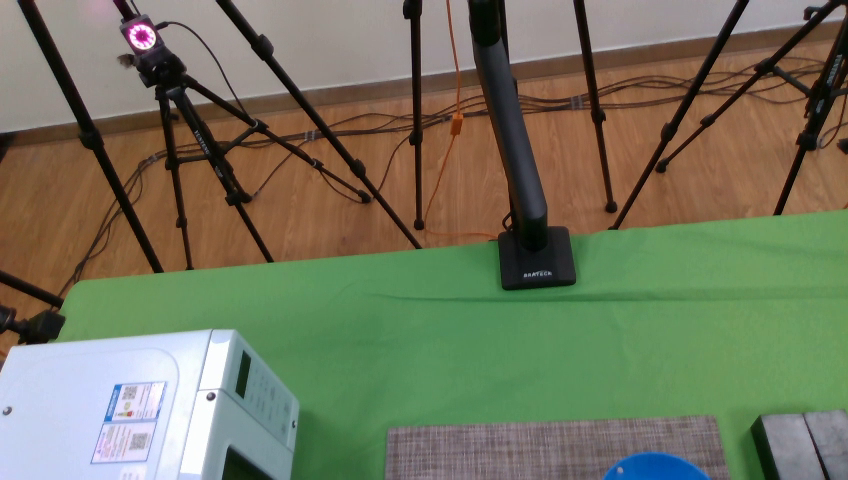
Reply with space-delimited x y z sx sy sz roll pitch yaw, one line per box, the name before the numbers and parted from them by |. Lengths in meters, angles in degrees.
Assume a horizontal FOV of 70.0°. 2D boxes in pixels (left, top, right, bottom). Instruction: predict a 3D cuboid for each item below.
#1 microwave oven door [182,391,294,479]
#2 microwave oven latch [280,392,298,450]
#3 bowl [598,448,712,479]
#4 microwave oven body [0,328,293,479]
microwave oven door | -0.219 0.378 0.668 0.039 0.246 0.352 -7 53 8
microwave oven latch | -0.201 0.262 0.877 0.030 0.030 0.078 -5 54 7
bowl | 0.275 0.333 0.717 0.151 0.077 0.150 -6 54 8
microwave oven body | -0.363 0.363 0.715 0.326 0.263 0.437 -6 54 7
